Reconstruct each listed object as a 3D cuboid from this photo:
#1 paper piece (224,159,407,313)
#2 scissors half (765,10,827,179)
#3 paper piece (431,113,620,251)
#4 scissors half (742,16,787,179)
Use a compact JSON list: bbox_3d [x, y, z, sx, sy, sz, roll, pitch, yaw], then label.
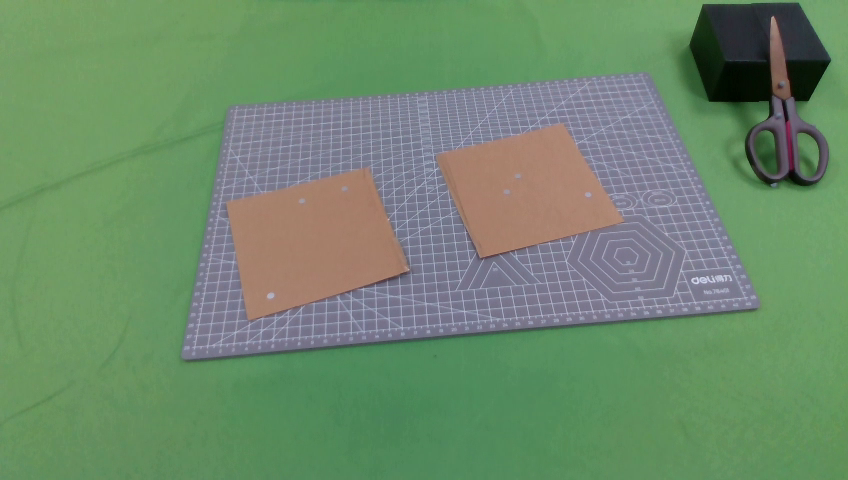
[{"bbox_3d":[-0.099,-0.011,0.528,0.138,0.009,0.134,-17,49,-7],"label":"paper piece"},{"bbox_3d":[0.342,-0.140,0.568,0.040,0.013,0.174,-6,76,0],"label":"scissors half"},{"bbox_3d":[0.089,-0.058,0.555,0.136,0.004,0.134,-14,55,-7],"label":"paper piece"},{"bbox_3d":[0.322,-0.140,0.568,0.040,0.013,0.174,12,75,-1],"label":"scissors half"}]
